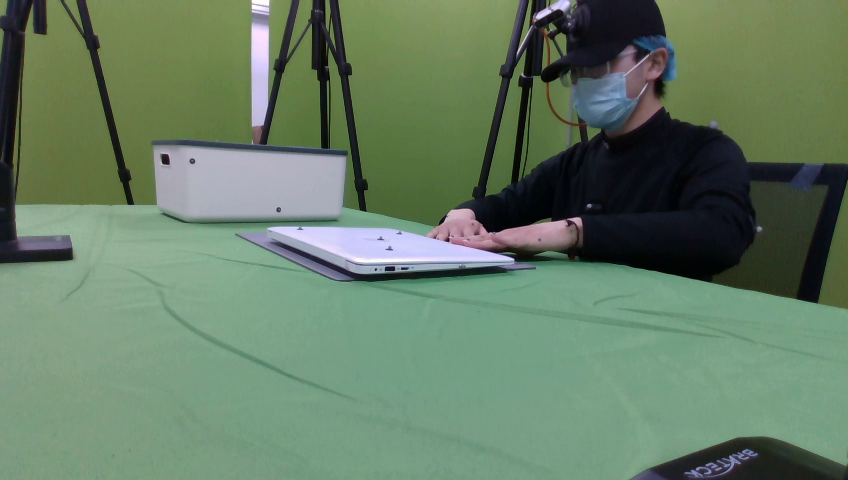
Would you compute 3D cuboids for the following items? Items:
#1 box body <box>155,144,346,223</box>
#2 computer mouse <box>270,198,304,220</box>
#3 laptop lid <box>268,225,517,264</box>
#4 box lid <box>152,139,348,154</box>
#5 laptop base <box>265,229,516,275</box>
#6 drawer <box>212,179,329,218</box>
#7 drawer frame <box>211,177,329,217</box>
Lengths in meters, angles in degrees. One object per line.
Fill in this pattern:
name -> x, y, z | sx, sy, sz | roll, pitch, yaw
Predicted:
box body -> -0.384, -0.131, 1.346 | 0.366, 0.160, 0.253 | -3, 9, -36
computer mouse -> -0.319, -0.073, 1.403 | 0.063, 0.041, 0.116 | 4, 13, -24
laptop lid -> -0.063, 0.002, 0.877 | 0.243, 0.013, 0.355 | 1, 7, -30
box lid -> -0.379, -0.205, 1.338 | 0.373, 0.015, 0.262 | -3, 10, -36
laptop base -> -0.065, 0.014, 0.877 | 0.237, 0.023, 0.352 | 2, 7, -32
drawer -> -0.348, -0.097, 1.365 | 0.213, 0.073, 0.193 | -1, 10, -32
drawer frame -> -0.349, -0.100, 1.365 | 0.215, 0.082, 0.200 | -3, 9, -32
